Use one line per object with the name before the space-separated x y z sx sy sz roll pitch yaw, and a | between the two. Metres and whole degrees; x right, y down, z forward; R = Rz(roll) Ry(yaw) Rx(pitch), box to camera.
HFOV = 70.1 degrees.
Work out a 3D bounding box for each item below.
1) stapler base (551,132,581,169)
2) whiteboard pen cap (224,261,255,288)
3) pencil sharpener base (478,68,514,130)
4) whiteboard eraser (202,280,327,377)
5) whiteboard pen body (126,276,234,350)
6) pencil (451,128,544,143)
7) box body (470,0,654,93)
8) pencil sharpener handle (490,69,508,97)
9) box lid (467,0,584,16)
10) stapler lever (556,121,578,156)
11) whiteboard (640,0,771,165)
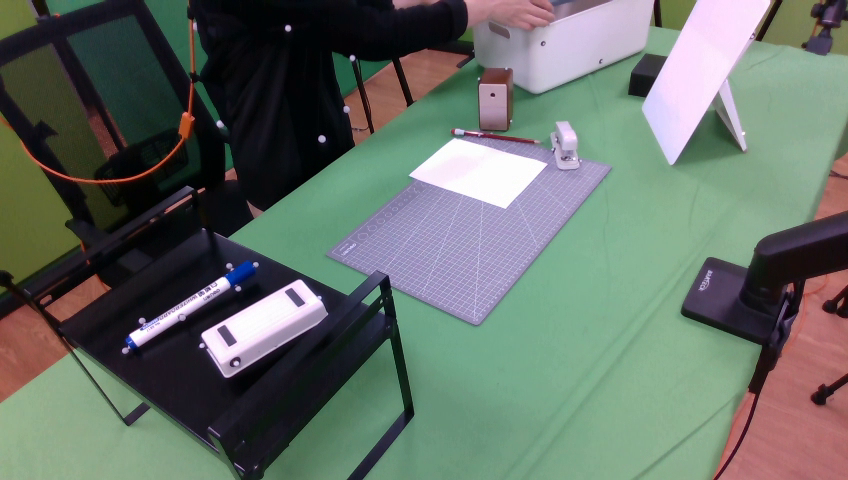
stapler base | 0.268 -0.178 1.142 0.041 0.024 0.130 0 37 3
whiteboard pen cap | -0.207 0.039 0.677 0.033 0.018 0.018 -36 47 -18
pencil sharpener base | 0.148 -0.286 1.225 0.061 0.107 0.076 5 41 15
whiteboard eraser | -0.156 0.088 0.600 0.113 0.042 0.055 -30 47 -24
whiteboard pen body | -0.251 0.070 0.649 0.141 0.017 0.017 -36 48 -26
pencil | 0.145 -0.207 1.204 0.193 0.012 0.012 11 44 20
box body | 0.319 -0.498 1.405 0.365 0.161 0.252 -26 44 -21
pencil sharpener handle | 0.154 -0.330 1.254 0.036 0.068 0.030 20 43 0
box lid | 0.283 -0.559 1.330 0.373 0.015 0.261 -22 39 -21
stapler lever | 0.266 -0.198 1.128 0.027 0.040 0.117 0 37 3
whiteboard | 0.544 -0.299 1.076 0.144 0.305 0.216 12 40 -7
